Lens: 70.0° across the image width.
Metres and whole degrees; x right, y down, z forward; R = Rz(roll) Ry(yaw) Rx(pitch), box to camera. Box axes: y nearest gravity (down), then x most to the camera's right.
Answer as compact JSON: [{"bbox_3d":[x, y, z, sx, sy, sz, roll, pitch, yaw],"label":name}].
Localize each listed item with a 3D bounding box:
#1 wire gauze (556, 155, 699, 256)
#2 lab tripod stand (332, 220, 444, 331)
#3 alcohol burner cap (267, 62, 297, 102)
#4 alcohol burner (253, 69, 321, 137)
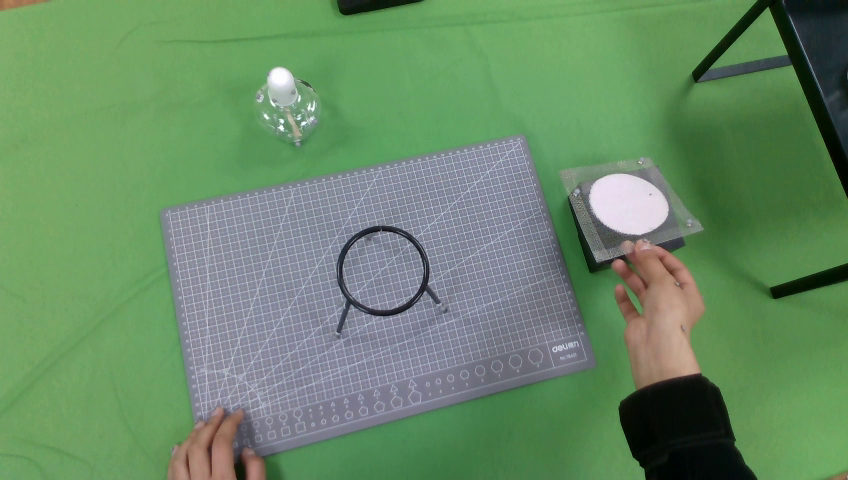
[{"bbox_3d":[0.222,-0.045,0.672,0.122,0.011,0.123,-11,56,-9],"label":"wire gauze"},{"bbox_3d":[-0.042,0.039,0.641,0.148,0.132,0.147,2,74,-6],"label":"lab tripod stand"},{"bbox_3d":[-0.157,-0.174,0.662,0.034,0.048,0.033,2,80,-9],"label":"alcohol burner cap"},{"bbox_3d":[-0.159,-0.167,0.695,0.078,0.119,0.077,2,76,-6],"label":"alcohol burner"}]
